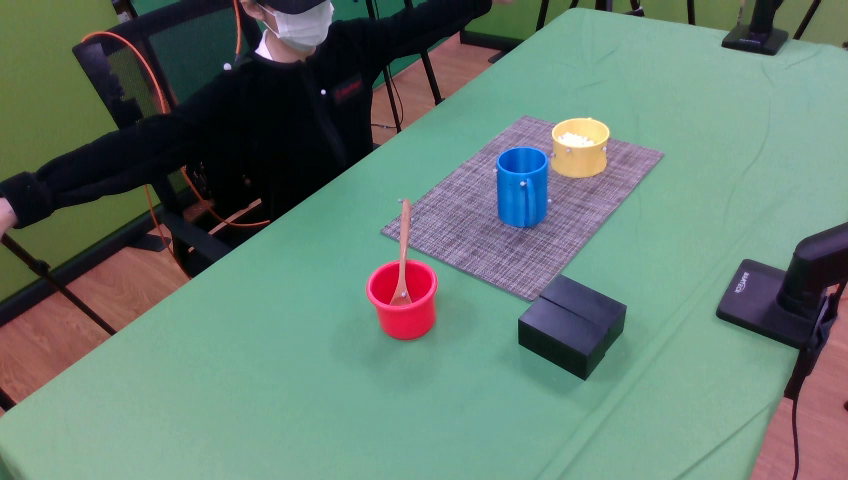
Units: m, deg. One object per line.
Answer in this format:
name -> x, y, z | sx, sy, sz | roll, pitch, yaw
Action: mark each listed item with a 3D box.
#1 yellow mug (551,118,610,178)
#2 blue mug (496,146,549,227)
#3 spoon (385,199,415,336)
yellow mug -> 0.287, -0.176, 1.098 | 0.099, 0.064, 0.131 | 12, 43, 23
blue mug -> 0.162, -0.076, 0.969 | 0.082, 0.106, 0.116 | -9, 40, -1
spoon -> -0.029, 0.036, 0.843 | 0.041, 0.022, 0.193 | 2, 85, 11
